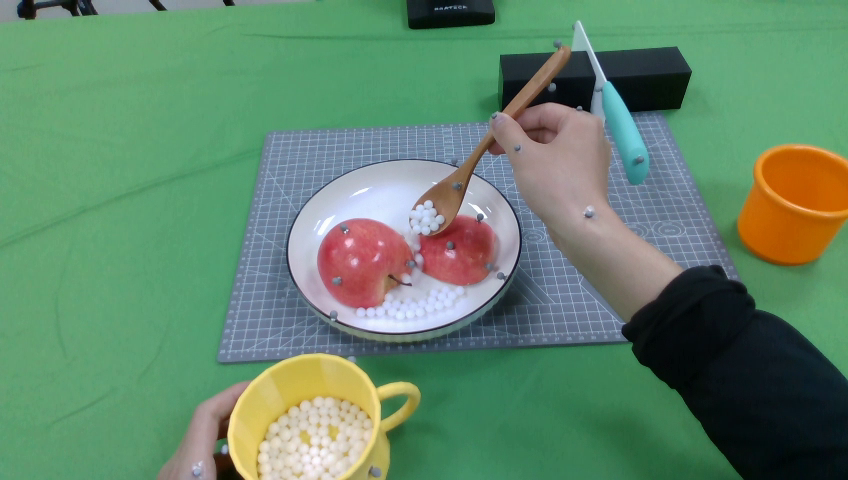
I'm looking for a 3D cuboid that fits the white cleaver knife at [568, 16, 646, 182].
[{"bbox_3d":[0.191,-0.156,0.657,0.021,0.066,0.283,-5,45,4],"label":"white cleaver knife"}]

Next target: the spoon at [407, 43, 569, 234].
[{"bbox_3d":[0.049,-0.078,0.492,0.022,0.194,0.041,8,40,-48],"label":"spoon"}]

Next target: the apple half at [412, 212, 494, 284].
[{"bbox_3d":[0.025,-0.001,0.540,0.081,0.033,0.080,-1,52,2],"label":"apple half"}]

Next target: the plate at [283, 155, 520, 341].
[{"bbox_3d":[-0.020,0.005,0.545,0.209,0.038,0.207,-1,49,1],"label":"plate"}]

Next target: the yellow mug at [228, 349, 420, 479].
[{"bbox_3d":[-0.063,0.129,0.424,0.131,0.064,0.099,-20,52,-16],"label":"yellow mug"}]

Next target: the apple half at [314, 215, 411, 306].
[{"bbox_3d":[-0.055,0.009,0.522,0.074,0.054,0.081,34,59,31],"label":"apple half"}]
